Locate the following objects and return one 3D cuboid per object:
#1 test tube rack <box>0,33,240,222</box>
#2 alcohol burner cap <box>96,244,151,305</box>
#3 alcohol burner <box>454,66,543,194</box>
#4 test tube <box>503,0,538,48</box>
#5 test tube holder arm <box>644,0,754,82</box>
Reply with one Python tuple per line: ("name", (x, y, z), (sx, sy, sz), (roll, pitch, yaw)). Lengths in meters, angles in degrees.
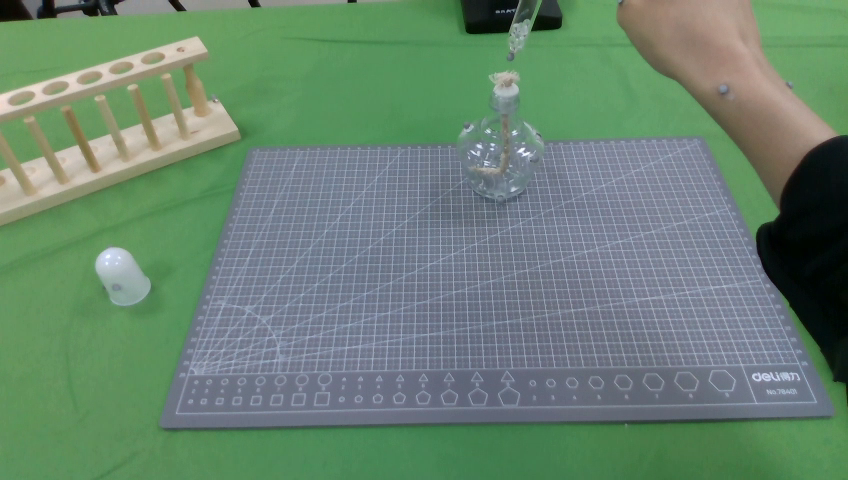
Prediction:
("test tube rack", (-0.310, -0.107, 0.567), (0.242, 0.086, 0.066), (-25, 51, -19))
("alcohol burner cap", (-0.239, 0.024, 0.476), (0.034, 0.048, 0.033), (-1, 47, 1))
("alcohol burner", (0.065, -0.097, 0.520), (0.078, 0.120, 0.077), (0, 49, 0))
("test tube", (0.081, -0.196, 0.406), (0.017, 0.151, 0.017), (7, 50, -8))
("test tube holder arm", (0.135, -0.163, 0.382), (0.178, 0.015, 0.013), (45, 61, 9))
